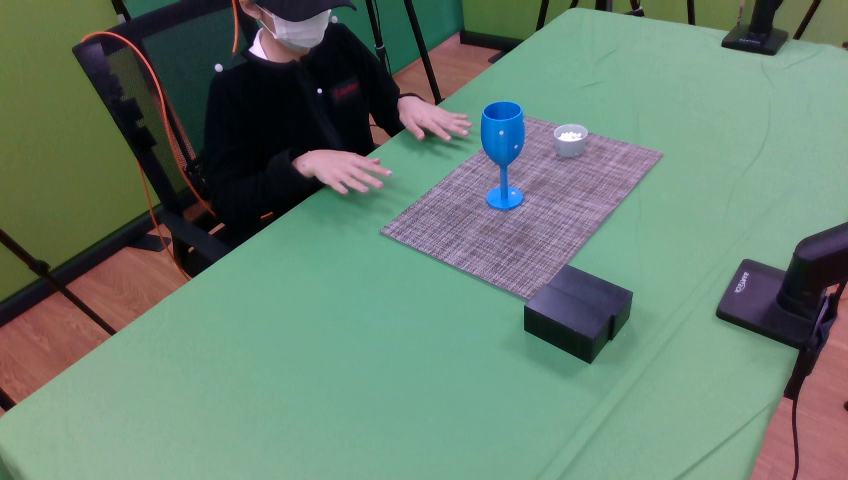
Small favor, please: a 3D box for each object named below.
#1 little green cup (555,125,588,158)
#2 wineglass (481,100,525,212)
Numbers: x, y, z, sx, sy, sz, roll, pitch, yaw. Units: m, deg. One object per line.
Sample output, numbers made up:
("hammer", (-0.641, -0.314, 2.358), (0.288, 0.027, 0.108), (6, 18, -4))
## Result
("little green cup", (0.274, -0.184, 1.130), (0.061, 0.039, 0.061), (-4, 41, 4))
("wineglass", (0.131, -0.136, 0.992), (0.074, 0.173, 0.073), (-5, 40, 4))
